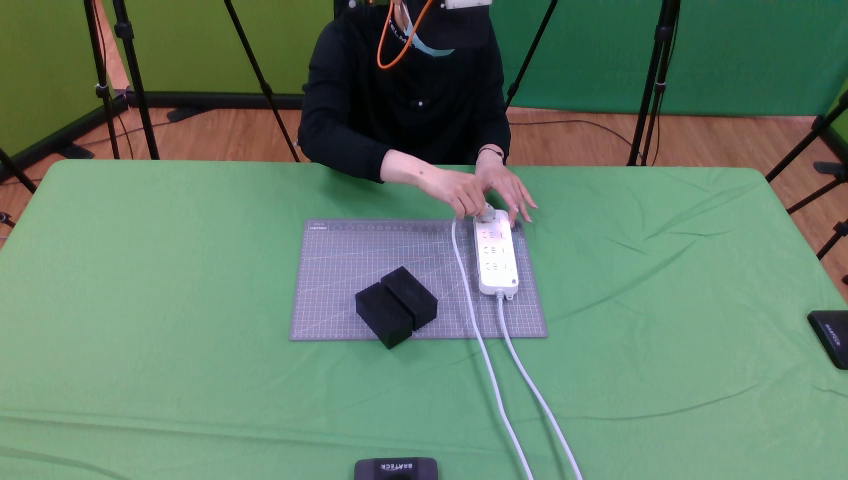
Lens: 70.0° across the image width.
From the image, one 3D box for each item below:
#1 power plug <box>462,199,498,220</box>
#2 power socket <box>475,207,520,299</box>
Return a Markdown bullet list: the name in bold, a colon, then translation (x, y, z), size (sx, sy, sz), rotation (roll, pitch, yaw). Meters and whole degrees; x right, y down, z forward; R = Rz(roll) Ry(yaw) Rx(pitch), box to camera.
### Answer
- **power plug**: translation (0.112, -0.061, 1.203), size (0.072, 0.053, 0.035), rotation (10, 47, 8)
- **power socket**: translation (0.140, 0.017, 1.174), size (0.072, 0.033, 0.225), rotation (1, 47, -1)
